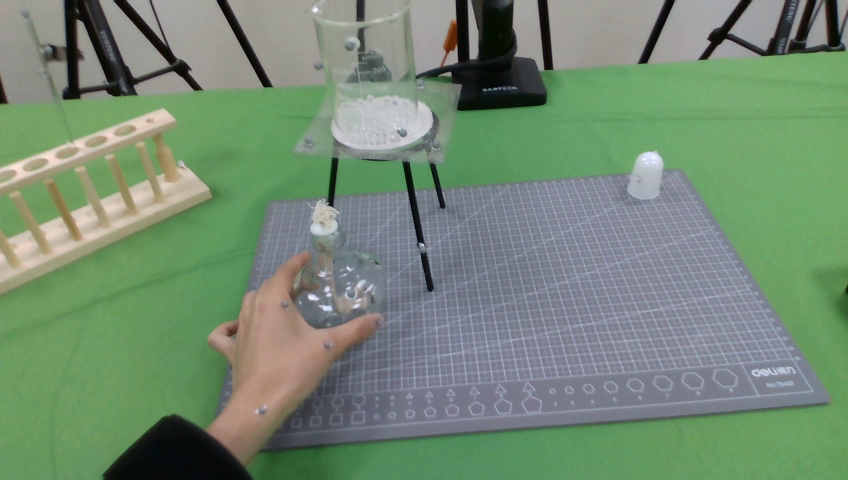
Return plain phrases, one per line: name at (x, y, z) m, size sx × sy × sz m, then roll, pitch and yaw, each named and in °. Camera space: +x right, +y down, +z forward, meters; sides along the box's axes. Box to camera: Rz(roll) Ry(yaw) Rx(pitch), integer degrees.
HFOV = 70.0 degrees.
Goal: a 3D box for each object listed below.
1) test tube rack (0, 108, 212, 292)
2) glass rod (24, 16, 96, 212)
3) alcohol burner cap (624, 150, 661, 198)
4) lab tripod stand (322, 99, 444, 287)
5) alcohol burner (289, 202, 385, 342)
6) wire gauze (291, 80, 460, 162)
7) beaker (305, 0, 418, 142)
test tube rack at (-0.349, -0.041, 0.605) m, size 0.242 × 0.086 × 0.066 m, roll -31°, pitch 47°, yaw -27°
glass rod at (-0.349, -0.114, 0.588) m, size 0.008 × 0.201 × 0.008 m, roll 0°, pitch 34°, yaw 0°
alcohol burner cap at (0.225, -0.070, 0.620) m, size 0.034 × 0.048 × 0.033 m, roll -2°, pitch 41°, yaw 2°
lab tripod stand at (-0.031, -0.047, 0.544) m, size 0.148 × 0.133 × 0.147 m, roll -3°, pitch 43°, yaw 3°
alcohol burner at (-0.071, 0.022, 0.475) m, size 0.078 × 0.120 × 0.077 m, roll -4°, pitch 38°, yaw 4°
wire gauze at (-0.036, -0.103, 0.508) m, size 0.125 × 0.011 × 0.120 m, roll 2°, pitch 40°, yaw 12°
beaker at (-0.045, -0.134, 0.471) m, size 0.084 × 0.101 × 0.073 m, roll 7°, pitch 43°, yaw 14°
